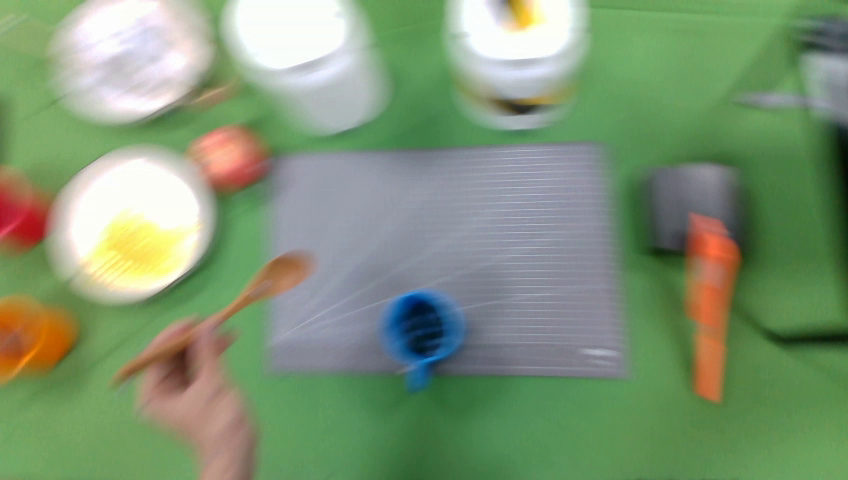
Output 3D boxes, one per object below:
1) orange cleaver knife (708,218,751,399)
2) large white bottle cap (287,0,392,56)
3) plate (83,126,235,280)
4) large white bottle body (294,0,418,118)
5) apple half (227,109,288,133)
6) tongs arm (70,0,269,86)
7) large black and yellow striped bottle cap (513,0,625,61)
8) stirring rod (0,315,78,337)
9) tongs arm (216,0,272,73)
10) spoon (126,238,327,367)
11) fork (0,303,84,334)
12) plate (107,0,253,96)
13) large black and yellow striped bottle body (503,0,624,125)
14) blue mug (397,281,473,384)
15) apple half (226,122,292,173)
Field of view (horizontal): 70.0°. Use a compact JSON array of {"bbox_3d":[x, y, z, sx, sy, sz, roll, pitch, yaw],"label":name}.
[{"bbox_3d":[0.344,0.081,0.697,0.012,0.077,0.212,1,112,6],"label":"orange cleaver knife"},{"bbox_3d":[-0.092,-0.257,0.660,0.115,0.018,0.114,-1,80,6],"label":"large white bottle cap"},{"bbox_3d":[-0.350,-0.049,0.813,0.209,0.038,0.208,-1,81,6],"label":"plate"},{"bbox_3d":[-0.082,-0.242,0.744,0.130,0.185,0.130,-1,79,6],"label":"large white bottle body"},{"bbox_3d":[-0.220,-0.153,0.798,0.081,0.081,0.032,-13,84,4],"label":"apple half"},{"bbox_3d":[-0.380,-0.297,0.824,0.383,0.026,0.050,30,81,12],"label":"tongs arm"},{"bbox_3d":[0.152,-0.245,0.636,0.115,0.019,0.114,-1,82,5],"label":"large black and yellow striped bottle cap"},{"bbox_3d":[-0.529,0.100,0.751,0.177,0.006,0.014,16,68,-33],"label":"stirring rod"},{"bbox_3d":[-0.330,-0.363,0.832,0.028,0.028,0.385,-43,77,-9],"label":"tongs arm"},{"bbox_3d":[-0.162,0.050,0.521,0.021,0.042,0.193,27,45,30],"label":"spoon"},{"bbox_3d":[-0.536,0.080,0.753,0.209,0.018,0.028,25,80,-34],"label":"fork"},{"bbox_3d":[-0.338,-0.298,0.853,0.207,0.039,0.207,-1,81,6],"label":"plate"},{"bbox_3d":[0.161,-0.228,0.717,0.130,0.185,0.130,-1,80,6],"label":"large black and yellow striped bottle body"},{"bbox_3d":[0.013,0.112,0.713,0.082,0.106,0.116,10,82,8],"label":"blue mug"},{"bbox_3d":[-0.212,-0.115,0.793,0.081,0.075,0.053,-12,83,0],"label":"apple half"}]
